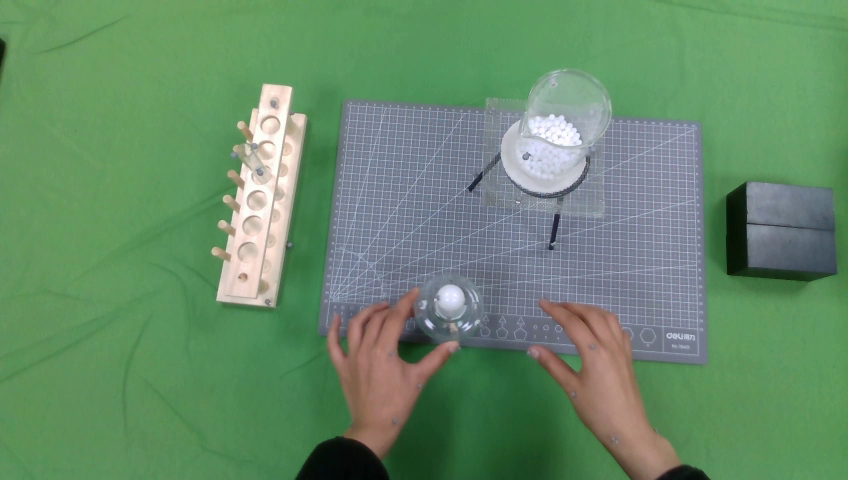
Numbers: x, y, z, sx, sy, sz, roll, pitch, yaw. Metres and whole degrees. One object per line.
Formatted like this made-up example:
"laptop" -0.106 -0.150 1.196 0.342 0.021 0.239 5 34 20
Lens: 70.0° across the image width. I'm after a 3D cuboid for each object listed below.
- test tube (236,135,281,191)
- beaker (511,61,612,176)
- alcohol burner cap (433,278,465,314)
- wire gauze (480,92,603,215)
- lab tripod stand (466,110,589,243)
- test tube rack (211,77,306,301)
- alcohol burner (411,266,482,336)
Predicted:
"test tube" -0.175 -0.079 0.651 0.017 0.150 0.017 0 79 -2
"beaker" 0.120 -0.106 0.564 0.084 0.100 0.073 -29 79 -7
"alcohol burner cap" 0.025 0.056 0.619 0.034 0.048 0.033 -1 73 4
"wire gauze" 0.120 -0.090 0.610 0.125 0.011 0.121 6 78 -1
"lab tripod stand" 0.124 -0.080 0.675 0.148 0.132 0.147 0 76 1
"test tube rack" -0.195 -0.058 0.697 0.067 0.085 0.241 6 78 2
"alcohol burner" 0.025 0.064 0.654 0.078 0.119 0.077 0 78 -1
